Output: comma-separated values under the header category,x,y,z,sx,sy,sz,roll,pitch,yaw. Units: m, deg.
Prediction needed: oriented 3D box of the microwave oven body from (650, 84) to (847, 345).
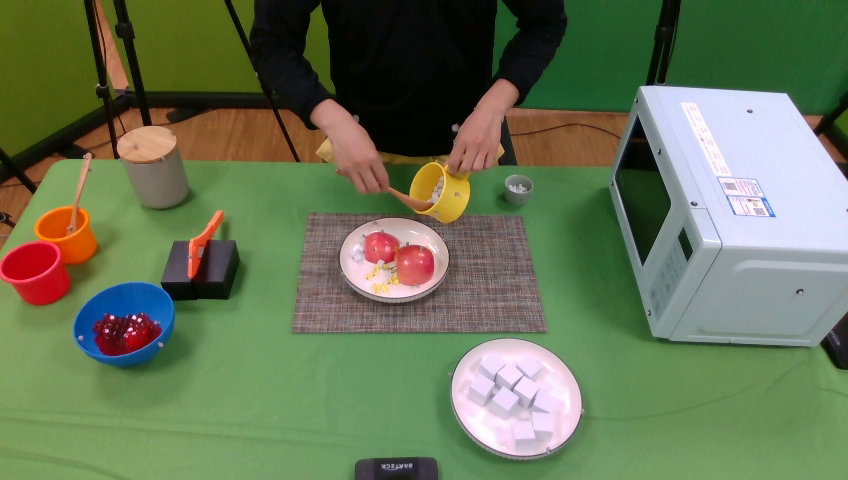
category,x,y,z,sx,sy,sz,roll,pitch,yaw
microwave oven body,0.569,-0.054,1.116,0.326,0.261,0.439,2,46,-1

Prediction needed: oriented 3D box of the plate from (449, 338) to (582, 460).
category,x,y,z,sx,sy,sz,roll,pitch,yaw
plate,0.141,0.251,0.956,0.208,0.039,0.206,2,47,-2

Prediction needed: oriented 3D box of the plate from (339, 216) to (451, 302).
category,x,y,z,sx,sy,sz,roll,pitch,yaw
plate,-0.054,0.038,1.137,0.209,0.038,0.208,2,46,-2

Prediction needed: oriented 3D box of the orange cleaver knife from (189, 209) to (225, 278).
category,x,y,z,sx,sy,sz,roll,pitch,yaw
orange cleaver knife,-0.400,0.002,1.122,0.012,0.077,0.210,4,23,-4

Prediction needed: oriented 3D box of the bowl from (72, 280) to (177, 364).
category,x,y,z,sx,sy,sz,roll,pitch,yaw
bowl,-0.472,0.147,0.982,0.151,0.077,0.150,2,46,-2

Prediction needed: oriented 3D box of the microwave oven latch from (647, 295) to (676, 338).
category,x,y,z,sx,sy,sz,roll,pitch,yaw
microwave oven latch,0.413,0.133,1.060,0.030,0.029,0.078,4,46,1

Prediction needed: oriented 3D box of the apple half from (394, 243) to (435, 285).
category,x,y,z,sx,sy,sz,roll,pitch,yaw
apple half,-0.016,0.036,1.121,0.075,0.053,0.080,1,46,-6

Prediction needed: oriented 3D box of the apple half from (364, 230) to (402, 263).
category,x,y,z,sx,sy,sz,roll,pitch,yaw
apple half,-0.079,0.004,1.160,0.081,0.033,0.081,3,50,-3

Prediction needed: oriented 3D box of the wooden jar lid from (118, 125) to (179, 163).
category,x,y,z,sx,sy,sz,roll,pitch,yaw
wooden jar lid,-0.528,-0.181,1.167,0.108,0.021,0.107,4,48,-4

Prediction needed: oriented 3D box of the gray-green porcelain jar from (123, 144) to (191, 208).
category,x,y,z,sx,sy,sz,roll,pitch,yaw
gray-green porcelain jar,-0.530,-0.137,1.213,0.106,0.127,0.105,2,46,-2

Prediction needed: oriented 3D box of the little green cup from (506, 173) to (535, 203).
category,x,y,z,sx,sy,sz,roll,pitch,yaw
little green cup,0.205,-0.111,1.302,0.061,0.039,0.061,1,45,-1

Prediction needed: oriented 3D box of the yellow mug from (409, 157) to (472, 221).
category,x,y,z,sx,sy,sz,roll,pitch,yaw
yellow mug,0.037,-0.102,1.118,0.064,0.131,0.099,19,32,-40

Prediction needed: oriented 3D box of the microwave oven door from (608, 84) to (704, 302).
category,x,y,z,sx,sy,sz,roll,pitch,yaw
microwave oven door,0.424,-0.096,1.138,0.039,0.245,0.353,2,47,-1

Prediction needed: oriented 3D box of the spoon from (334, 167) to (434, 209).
category,x,y,z,sx,sy,sz,roll,pitch,yaw
spoon,-0.068,-0.093,1.085,0.194,0.041,0.021,23,73,-13

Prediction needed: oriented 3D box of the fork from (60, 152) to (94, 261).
category,x,y,z,sx,sy,sz,roll,pitch,yaw
fork,-0.638,-0.063,1.119,0.028,0.018,0.207,12,90,8
